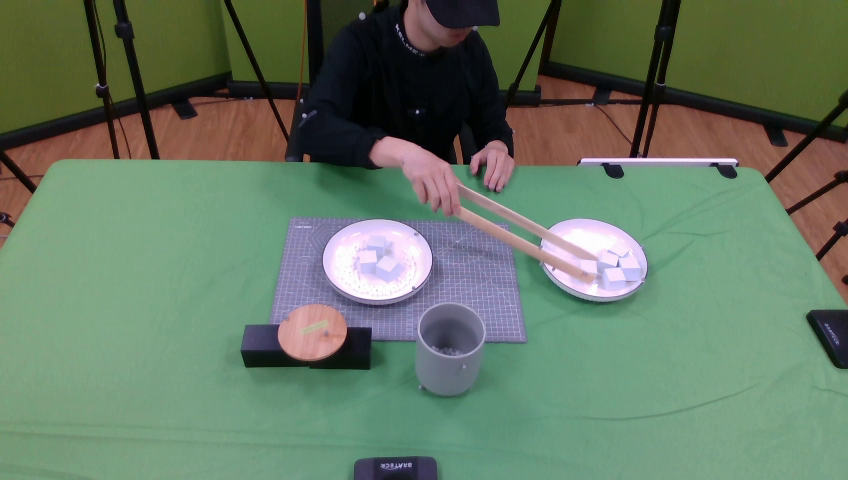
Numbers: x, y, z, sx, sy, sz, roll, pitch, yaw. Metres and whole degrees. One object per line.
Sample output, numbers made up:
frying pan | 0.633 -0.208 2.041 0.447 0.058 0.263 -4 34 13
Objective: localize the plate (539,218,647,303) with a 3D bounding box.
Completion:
plate | 0.322 0.042 1.171 0.208 0.039 0.206 2 46 -2

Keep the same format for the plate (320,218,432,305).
plate | -0.089 0.044 1.134 0.209 0.038 0.208 3 46 -2

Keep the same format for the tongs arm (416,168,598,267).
tongs arm | 0.158 -0.044 1.160 0.388 0.028 0.028 27 47 0

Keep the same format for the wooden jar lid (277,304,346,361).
wooden jar lid | -0.179 0.150 0.972 0.108 0.021 0.107 2 45 -2

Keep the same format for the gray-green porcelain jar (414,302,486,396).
gray-green porcelain jar | 0.038 0.177 0.958 0.106 0.127 0.105 2 46 -2

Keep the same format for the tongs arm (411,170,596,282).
tongs arm | 0.148 -0.026 1.137 0.385 0.026 0.050 26 43 -2
